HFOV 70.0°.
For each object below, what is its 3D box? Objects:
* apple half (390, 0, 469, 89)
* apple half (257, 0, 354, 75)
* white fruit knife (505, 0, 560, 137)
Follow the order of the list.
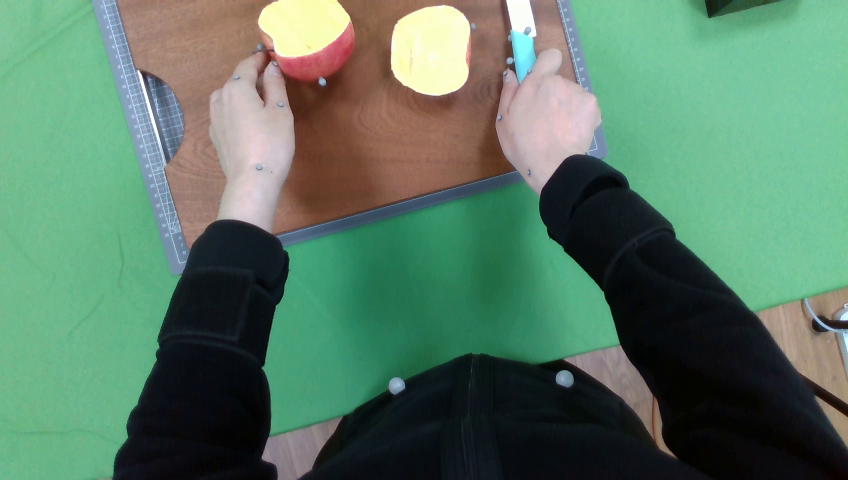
[{"bbox_3d":[0.007,-0.179,0.558,0.081,0.032,0.081,2,104,10],"label":"apple half"},{"bbox_3d":[-0.102,-0.181,0.542,0.074,0.054,0.080,-33,64,-12],"label":"apple half"},{"bbox_3d":[0.091,-0.195,0.563,0.027,0.016,0.207,-11,86,-6],"label":"white fruit knife"}]
